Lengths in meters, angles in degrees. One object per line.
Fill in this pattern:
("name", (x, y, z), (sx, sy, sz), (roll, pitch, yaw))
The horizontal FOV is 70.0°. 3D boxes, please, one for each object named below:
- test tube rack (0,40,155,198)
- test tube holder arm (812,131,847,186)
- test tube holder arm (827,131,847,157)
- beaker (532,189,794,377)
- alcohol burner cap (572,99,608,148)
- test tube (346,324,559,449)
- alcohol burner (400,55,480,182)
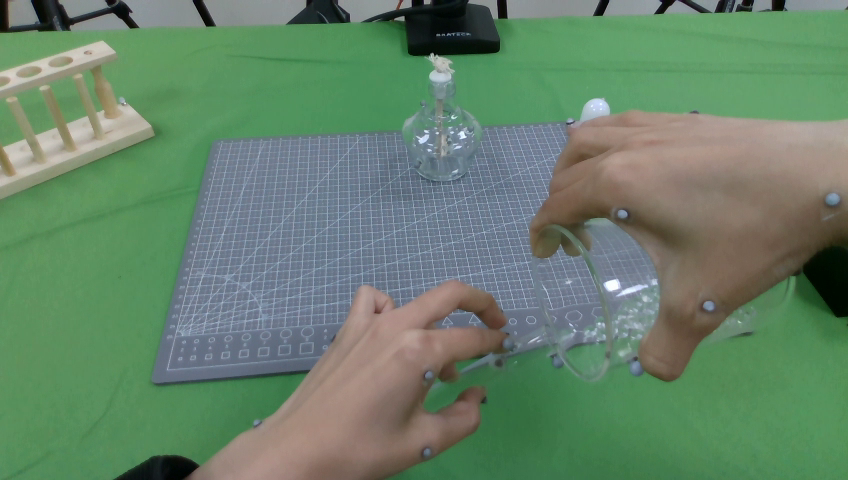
("test tube rack", (-0.397, -0.102, 0.574), (0.242, 0.086, 0.066), (-32, 53, -29))
("test tube holder arm", (0.366, -0.065, 0.529), (0.010, 0.015, 0.087), (-6, 44, 4))
("test tube holder arm", (0.373, -0.034, 0.497), (0.013, 0.015, 0.176), (-7, 44, 4))
("beaker", (0.112, 0.019, 0.292), (0.100, 0.084, 0.073), (-12, 57, -11))
("alcohol burner cap", (0.175, -0.125, 0.634), (0.034, 0.048, 0.033), (1, 44, 0))
("test tube", (0.010, 0.087, 0.345), (0.150, 0.017, 0.017), (-34, 38, 25))
("alcohol burner", (0.015, -0.116, 0.571), (0.078, 0.120, 0.077), (-1, 43, 1))
